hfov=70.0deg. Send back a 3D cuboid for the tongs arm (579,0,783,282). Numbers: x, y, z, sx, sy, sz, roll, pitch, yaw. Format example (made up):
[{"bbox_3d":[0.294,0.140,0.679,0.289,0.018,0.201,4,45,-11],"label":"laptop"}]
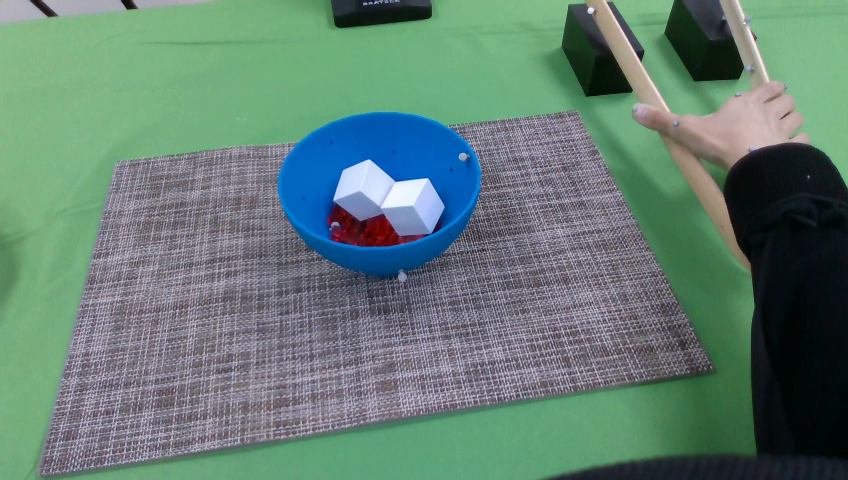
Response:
[{"bbox_3d":[0.210,-0.131,0.558,0.028,0.028,0.383,-10,61,-12],"label":"tongs arm"}]

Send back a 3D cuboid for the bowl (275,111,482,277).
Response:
[{"bbox_3d":[-0.033,-0.024,0.473,0.151,0.077,0.150,0,49,1],"label":"bowl"}]

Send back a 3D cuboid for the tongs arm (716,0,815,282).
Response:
[{"bbox_3d":[0.293,-0.138,0.563,0.051,0.027,0.381,0,60,-3],"label":"tongs arm"}]
